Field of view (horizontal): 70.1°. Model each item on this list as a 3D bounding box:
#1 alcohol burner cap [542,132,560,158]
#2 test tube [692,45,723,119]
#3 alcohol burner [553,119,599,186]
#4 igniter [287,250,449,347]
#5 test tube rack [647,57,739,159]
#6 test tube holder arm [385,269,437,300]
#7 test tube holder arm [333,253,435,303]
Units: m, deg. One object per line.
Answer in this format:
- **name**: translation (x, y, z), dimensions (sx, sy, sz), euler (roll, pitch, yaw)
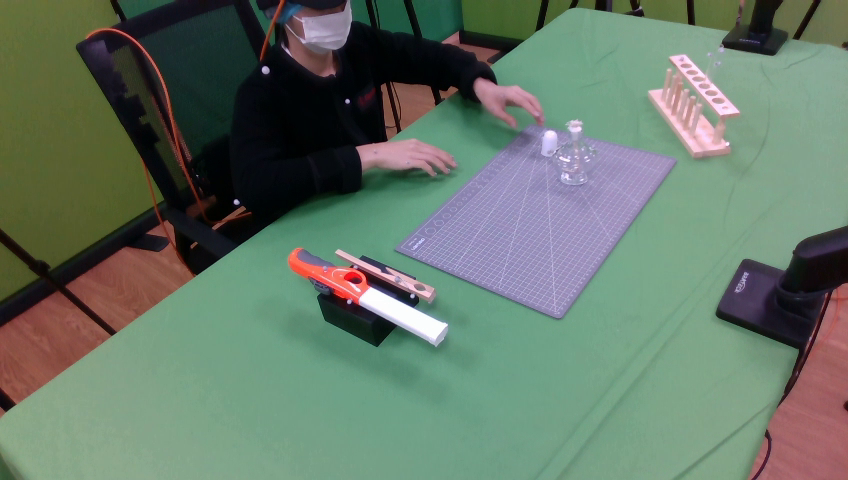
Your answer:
- **alcohol burner cap**: translation (0.237, -0.180, 1.134), dimensions (0.034, 0.048, 0.033), euler (-6, 41, 5)
- **test tube**: translation (0.517, -0.285, 1.106), dimensions (0.017, 0.151, 0.017), euler (-2, 46, 3)
- **alcohol burner**: translation (0.261, -0.153, 1.042), dimensions (0.078, 0.119, 0.077), euler (-6, 40, 6)
- **igniter**: translation (-0.087, 0.073, 0.825), dimensions (0.274, 0.025, 0.057), euler (23, 48, 27)
- **test tube rack**: translation (0.504, -0.257, 1.153), dimensions (0.067, 0.085, 0.241), euler (-8, 40, 1)
- **test tube holder arm**: translation (-0.020, 0.061, 0.834), dimensions (0.087, 0.015, 0.010), euler (20, 51, 29)
- **test tube holder arm**: translation (-0.060, 0.052, 0.853), dimensions (0.177, 0.015, 0.013), euler (19, 51, 28)
